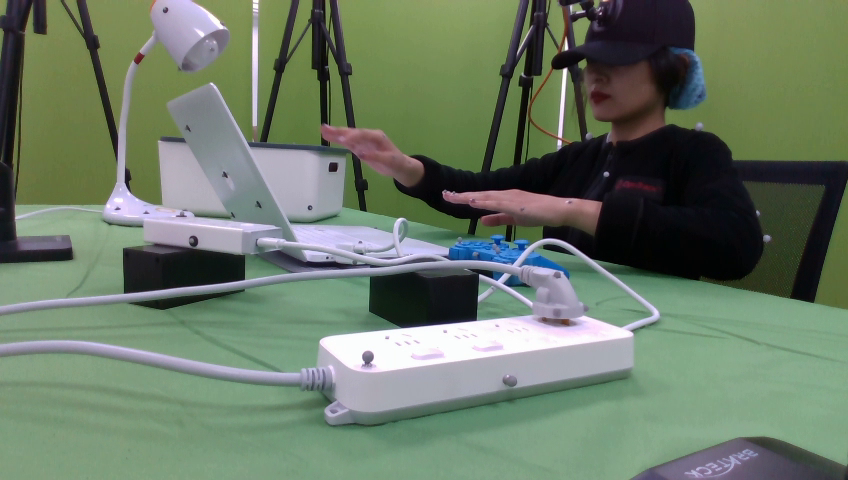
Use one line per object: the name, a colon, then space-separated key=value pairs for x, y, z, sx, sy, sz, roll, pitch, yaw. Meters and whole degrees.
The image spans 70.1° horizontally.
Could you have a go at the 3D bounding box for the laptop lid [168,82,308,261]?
laptop lid: x=-0.273 y=-0.094 z=0.844 sx=0.013 sy=0.242 sz=0.355 roll=-33 pitch=24 yaw=-22

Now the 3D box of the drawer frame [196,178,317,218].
drawer frame: x=-0.376 y=-0.101 z=1.393 sx=0.213 sy=0.082 sz=0.202 roll=1 pitch=8 yaw=6

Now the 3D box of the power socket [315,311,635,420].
power socket: x=0.039 y=0.072 z=0.385 sx=0.228 sy=0.032 sz=0.072 roll=-2 pitch=7 yaw=-29

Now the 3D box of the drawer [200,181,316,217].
drawer: x=-0.372 y=-0.097 z=1.393 sx=0.212 sy=0.073 sz=0.194 roll=1 pitch=9 yaw=6

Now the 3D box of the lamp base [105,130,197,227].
lamp base: x=-0.532 y=-0.120 z=1.153 sx=0.179 sy=0.180 sz=0.161 roll=1 pitch=7 yaw=8

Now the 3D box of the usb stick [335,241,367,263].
usb stick: x=-0.093 y=0.014 z=0.742 sx=0.021 sy=0.027 sz=0.059 roll=-4 pitch=1 yaw=-34

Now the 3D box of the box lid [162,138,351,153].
box lid: x=-0.371 y=-0.215 z=1.394 sx=0.371 sy=0.015 sz=0.263 roll=4 pitch=8 yaw=7

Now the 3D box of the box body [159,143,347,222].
box body: x=-0.384 y=-0.137 z=1.406 sx=0.364 sy=0.160 sz=0.254 roll=3 pitch=8 yaw=7

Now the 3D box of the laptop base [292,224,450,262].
laptop base: x=-0.126 y=0.002 z=0.946 sx=0.237 sy=0.023 sz=0.352 roll=2 pitch=6 yaw=-31

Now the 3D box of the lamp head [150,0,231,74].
lamp head: x=-0.432 y=-0.375 z=1.086 sx=0.123 sy=0.112 sz=0.112 roll=42 pitch=8 yaw=-2

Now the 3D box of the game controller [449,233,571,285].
game controller: x=0.101 y=0.021 z=0.760 sx=0.097 sy=0.051 sz=0.154 roll=-7 pitch=10 yaw=-30

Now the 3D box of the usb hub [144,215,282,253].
usb hub: x=-0.200 y=-0.006 z=0.573 sx=0.125 sy=0.025 sz=0.050 roll=6 pitch=7 yaw=23

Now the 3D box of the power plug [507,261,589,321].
power plug: x=0.091 y=0.043 z=0.444 sx=0.035 sy=0.052 sz=0.072 roll=-1 pitch=5 yaw=-18
